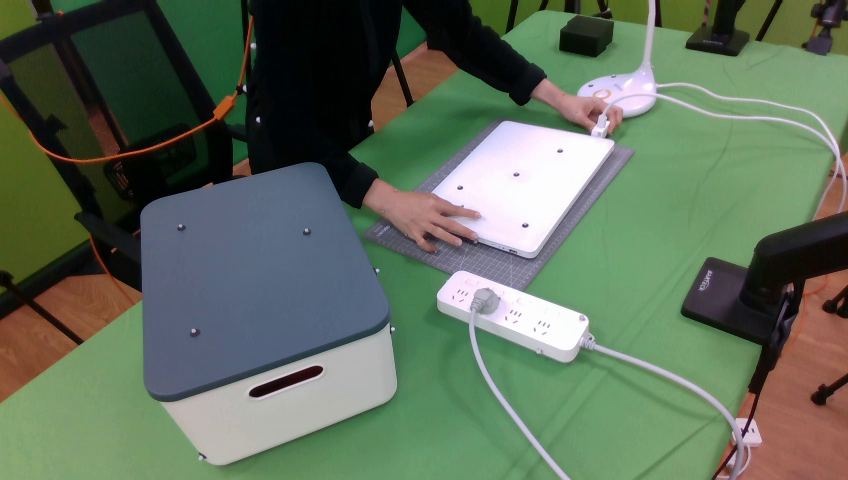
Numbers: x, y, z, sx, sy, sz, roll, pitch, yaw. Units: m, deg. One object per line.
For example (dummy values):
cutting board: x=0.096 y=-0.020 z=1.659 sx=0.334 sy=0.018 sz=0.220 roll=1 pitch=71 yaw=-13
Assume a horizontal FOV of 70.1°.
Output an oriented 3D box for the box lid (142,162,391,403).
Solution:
box lid: x=-0.212 y=0.025 z=0.752 sx=0.264 sy=0.015 sz=0.368 roll=-17 pitch=41 yaw=-13

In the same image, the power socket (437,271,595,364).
power socket: x=0.118 y=0.102 z=0.830 sx=0.225 sy=0.033 sz=0.072 roll=20 pitch=48 yaw=28

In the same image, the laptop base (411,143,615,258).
laptop base: x=0.167 y=-0.103 z=1.074 sx=0.234 sy=0.023 sz=0.355 roll=16 pitch=45 yaw=30

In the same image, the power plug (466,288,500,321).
power plug: x=0.072 y=0.093 z=0.813 sx=0.073 sy=0.053 sz=0.035 roll=-37 pitch=49 yaw=-28

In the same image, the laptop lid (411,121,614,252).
laptop lid: x=0.164 y=-0.112 z=1.068 sx=0.240 sy=0.013 sz=0.357 roll=19 pitch=46 yaw=31

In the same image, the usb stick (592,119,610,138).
usb stick: x=0.334 y=-0.204 z=1.152 sx=0.021 sy=0.027 sz=0.059 roll=20 pitch=51 yaw=24

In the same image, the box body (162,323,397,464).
box body: x=-0.205 y=0.080 z=0.802 sx=0.255 sy=0.161 sz=0.361 roll=-18 pitch=41 yaw=-13

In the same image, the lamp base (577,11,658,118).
lamp base: x=0.406 y=-0.363 z=1.222 sx=0.180 sy=0.181 sz=0.159 roll=-20 pitch=42 yaw=-18
